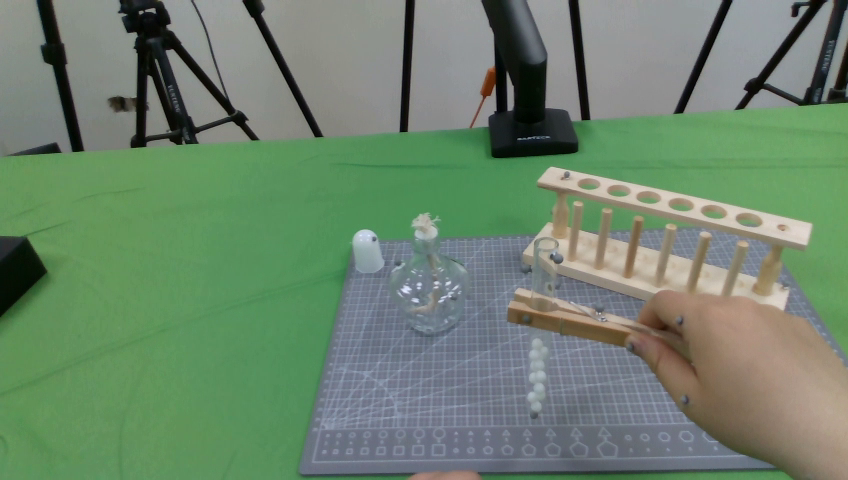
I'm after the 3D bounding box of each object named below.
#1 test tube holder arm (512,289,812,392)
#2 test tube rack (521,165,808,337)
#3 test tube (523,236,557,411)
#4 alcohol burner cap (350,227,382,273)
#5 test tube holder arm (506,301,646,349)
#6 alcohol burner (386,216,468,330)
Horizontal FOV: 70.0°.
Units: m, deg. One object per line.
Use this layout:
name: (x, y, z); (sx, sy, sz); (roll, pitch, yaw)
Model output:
test tube holder arm: (0.139, 0.060, 0.376); (0.177, 0.015, 0.013); (13, 44, 23)
test tube rack: (0.217, 0.003, 0.583); (0.240, 0.086, 0.066); (18, 43, 29)
test tube: (0.077, 0.062, 0.410); (0.017, 0.151, 0.017); (-2, 34, 2)
alcohol burner cap: (-0.064, 0.008, 0.653); (0.034, 0.048, 0.033); (-3, 38, 3)
test tube holder arm: (0.096, 0.054, 0.389); (0.087, 0.015, 0.010); (9, 42, 18)
alcohol burner: (0.001, 0.026, 0.560); (0.078, 0.120, 0.077); (-3, 38, 2)
